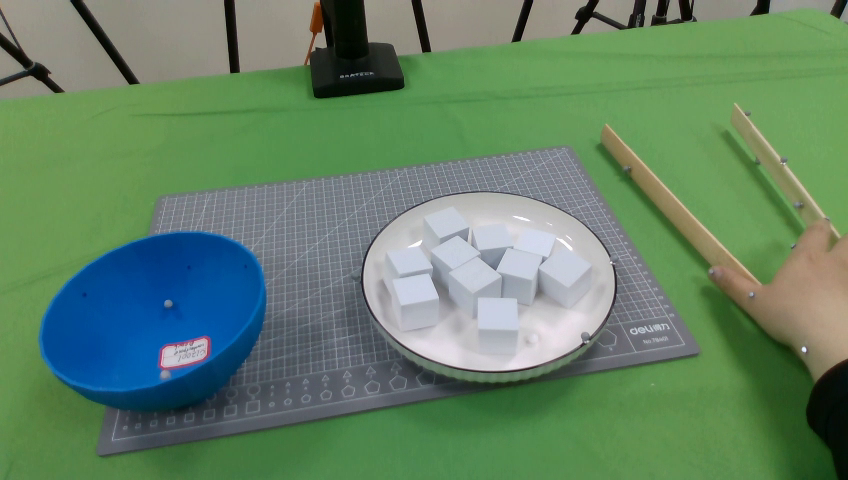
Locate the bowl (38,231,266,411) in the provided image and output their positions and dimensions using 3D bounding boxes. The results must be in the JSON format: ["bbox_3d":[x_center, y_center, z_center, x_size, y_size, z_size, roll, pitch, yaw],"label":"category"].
[{"bbox_3d":[-0.186,0.071,0.447,0.151,0.077,0.150,-1,42,1],"label":"bowl"}]

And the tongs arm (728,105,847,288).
[{"bbox_3d":[0.340,-0.013,0.554,0.051,0.027,0.380,-4,43,-1],"label":"tongs arm"}]

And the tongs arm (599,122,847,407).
[{"bbox_3d":[0.259,-0.001,0.549,0.028,0.028,0.383,-11,43,-14],"label":"tongs arm"}]

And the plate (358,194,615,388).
[{"bbox_3d":[0.050,0.039,0.504,0.208,0.039,0.205,-1,42,1],"label":"plate"}]
